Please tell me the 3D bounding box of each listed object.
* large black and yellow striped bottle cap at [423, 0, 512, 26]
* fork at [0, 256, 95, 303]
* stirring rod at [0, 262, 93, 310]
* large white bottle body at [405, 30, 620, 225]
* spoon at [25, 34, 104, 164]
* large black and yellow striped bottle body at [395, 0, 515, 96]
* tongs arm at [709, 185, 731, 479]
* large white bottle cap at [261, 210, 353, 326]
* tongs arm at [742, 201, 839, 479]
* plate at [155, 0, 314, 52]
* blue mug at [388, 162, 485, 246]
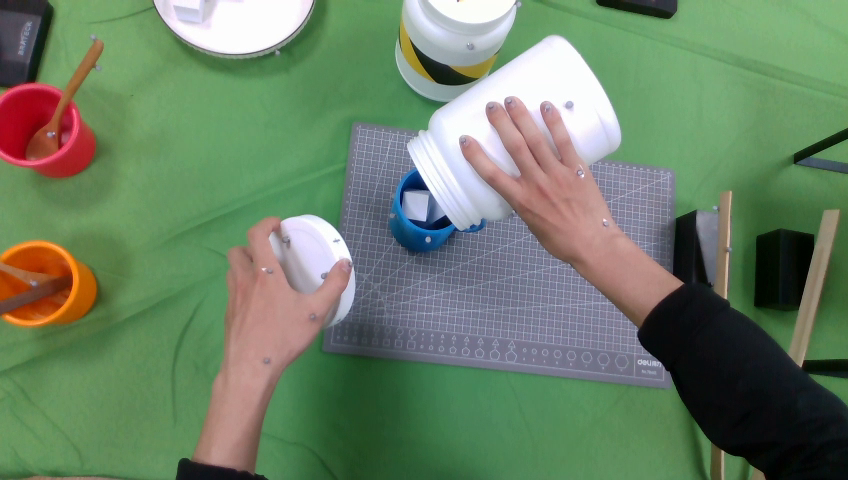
[{"bbox_3d":[0.047,-0.290,0.659,0.115,0.019,0.114,2,81,-9],"label":"large black and yellow striped bottle cap"},{"bbox_3d":[-0.449,0.020,0.634,0.209,0.018,0.028,38,70,-45],"label":"fork"},{"bbox_3d":[-0.431,0.060,0.636,0.014,0.006,0.176,53,35,1],"label":"stirring rod"},{"bbox_3d":[0.086,-0.107,0.613,0.184,0.131,0.130,-31,84,10],"label":"large white bottle body"},{"bbox_3d":[-0.401,-0.154,0.676,0.194,0.021,0.041,-42,82,30],"label":"spoon"},{"bbox_3d":[0.036,-0.272,0.740,0.131,0.184,0.130,2,79,-8],"label":"large black and yellow striped bottle body"},{"bbox_3d":[0.384,0.124,0.759,0.051,0.026,0.384,3,91,-11],"label":"tongs arm"},{"bbox_3d":[-0.117,0.028,0.595,0.018,0.114,0.114,-14,79,-53],"label":"large white bottle cap"},{"bbox_3d":[0.465,0.135,0.772,0.028,0.027,0.387,17,89,-14],"label":"tongs arm"},{"bbox_3d":[-0.243,-0.336,0.786,0.208,0.039,0.207,2,80,-8],"label":"plate"},{"bbox_3d":[0.017,-0.039,0.733,0.117,0.106,0.082,15,77,-5],"label":"blue mug"}]
